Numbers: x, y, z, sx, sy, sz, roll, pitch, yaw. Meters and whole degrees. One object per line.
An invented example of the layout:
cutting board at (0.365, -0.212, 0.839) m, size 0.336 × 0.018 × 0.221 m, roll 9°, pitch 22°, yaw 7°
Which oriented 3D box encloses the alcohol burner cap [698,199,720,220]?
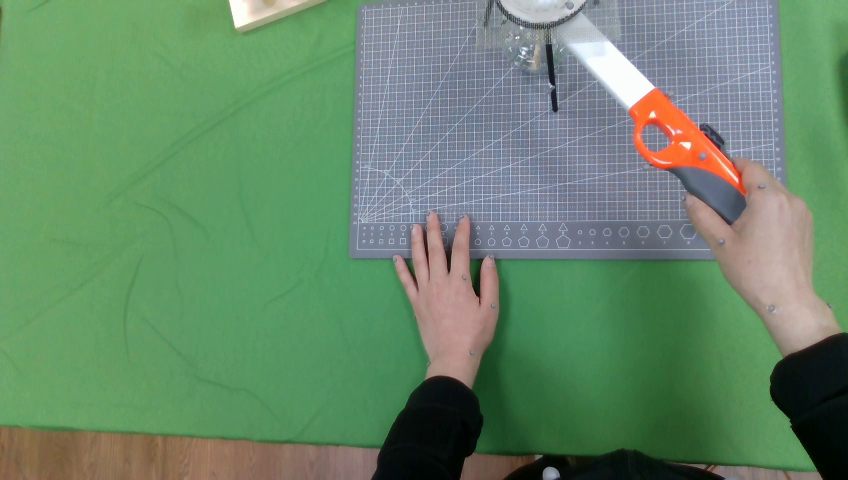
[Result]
alcohol burner cap at (0.289, -0.039, 0.588) m, size 0.034 × 0.048 × 0.034 m, roll -1°, pitch 82°, yaw 11°

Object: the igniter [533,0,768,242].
igniter at (0.193, -0.112, 0.525) m, size 0.057 × 0.025 × 0.275 m, roll -40°, pitch 75°, yaw 9°

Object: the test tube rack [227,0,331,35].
test tube rack at (-0.129, -0.322, 0.688) m, size 0.242 × 0.085 × 0.066 m, roll -17°, pitch 80°, yaw 9°

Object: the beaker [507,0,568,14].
beaker at (0.089, -0.236, 0.488) m, size 0.083 × 0.101 × 0.074 m, roll 13°, pitch 86°, yaw 13°

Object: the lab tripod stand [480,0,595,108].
lab tripod stand at (0.117, -0.220, 0.598) m, size 0.148 × 0.132 × 0.148 m, roll -1°, pitch 84°, yaw 10°

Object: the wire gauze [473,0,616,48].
wire gauze at (0.104, -0.229, 0.534) m, size 0.125 × 0.011 × 0.121 m, roll -1°, pitch 87°, yaw 9°

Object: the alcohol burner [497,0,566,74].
alcohol burner at (0.112, -0.216, 0.609) m, size 0.078 × 0.119 × 0.077 m, roll -1°, pitch 82°, yaw 10°
